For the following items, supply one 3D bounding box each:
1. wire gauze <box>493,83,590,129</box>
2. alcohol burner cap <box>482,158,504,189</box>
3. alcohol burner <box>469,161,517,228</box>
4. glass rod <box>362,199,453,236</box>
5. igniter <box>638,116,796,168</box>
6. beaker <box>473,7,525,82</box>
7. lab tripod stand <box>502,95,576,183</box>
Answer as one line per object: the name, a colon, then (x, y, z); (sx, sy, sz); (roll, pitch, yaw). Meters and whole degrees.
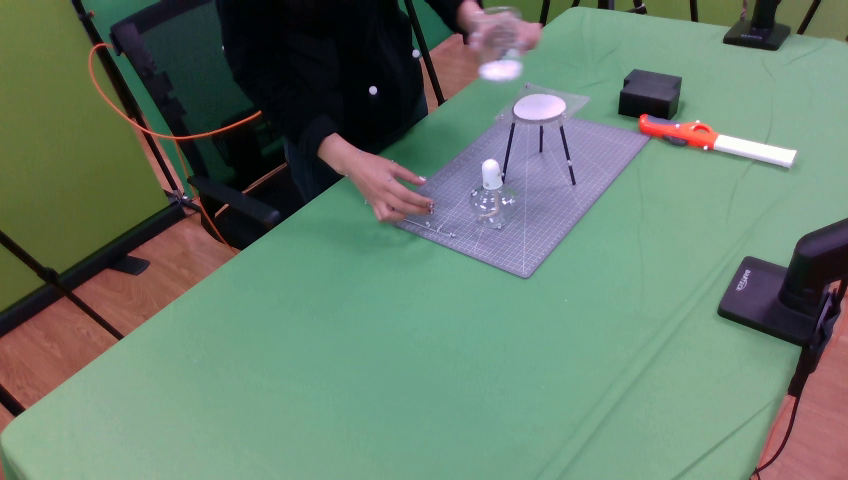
wire gauze: (0.198, -0.224, 1.012); (0.120, 0.011, 0.125); (20, 48, 28)
alcohol burner cap: (0.107, -0.106, 0.954); (0.034, 0.048, 0.033); (-9, 38, 8)
alcohol burner: (0.112, -0.079, 0.978); (0.078, 0.119, 0.077); (-4, 41, 4)
glass rod: (-0.032, -0.041, 1.041); (0.198, 0.008, 0.008); (22, 50, 31)
igniter: (0.517, -0.181, 1.093); (0.274, 0.025, 0.057); (23, 65, 32)
beaker: (0.125, -0.310, 0.967); (0.083, 0.101, 0.074); (20, 46, 37)
lab tripod stand: (0.204, -0.174, 1.057); (0.148, 0.132, 0.147); (-4, 40, 4)
